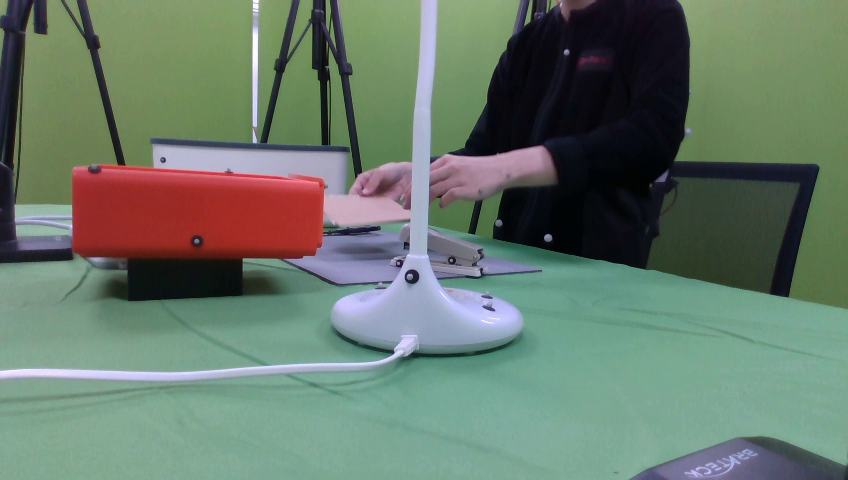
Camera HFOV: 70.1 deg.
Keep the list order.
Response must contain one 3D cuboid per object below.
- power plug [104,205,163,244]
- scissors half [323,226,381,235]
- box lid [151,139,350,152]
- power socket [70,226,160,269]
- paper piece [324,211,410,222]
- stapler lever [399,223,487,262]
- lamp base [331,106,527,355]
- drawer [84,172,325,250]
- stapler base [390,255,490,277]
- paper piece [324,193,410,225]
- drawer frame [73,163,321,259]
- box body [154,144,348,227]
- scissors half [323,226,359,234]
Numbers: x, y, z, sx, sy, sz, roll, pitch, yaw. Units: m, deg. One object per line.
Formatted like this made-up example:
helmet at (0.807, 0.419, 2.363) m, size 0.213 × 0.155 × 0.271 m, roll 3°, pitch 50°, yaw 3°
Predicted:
power plug at (-0.390, -0.021, 0.815) m, size 0.073 × 0.052 × 0.035 m, roll -1°, pitch 7°, yaw -27°
scissors half at (-0.152, -0.015, 1.079) m, size 0.176 × 0.013 × 0.040 m, roll -6°, pitch 2°, yaw -33°
box lid at (-0.352, -0.191, 1.256) m, size 0.373 × 0.015 × 0.262 m, roll 0°, pitch 8°, yaw -18°
power socket at (-0.409, 0.004, 0.793) m, size 0.072 × 0.032 × 0.225 m, roll -2°, pitch 8°, yaw -38°
paper piece at (-0.102, -0.044, 0.916) m, size 0.136 × 0.004 × 0.135 m, roll 2°, pitch 14°, yaw -21°
stapler lever at (0.022, 0.003, 0.776) m, size 0.117 × 0.040 × 0.027 m, roll 7°, pitch 12°, yaw 25°
lamp base at (0.006, -0.012, 0.478) m, size 0.161 × 0.180 × 0.179 m, roll 2°, pitch 10°, yaw 2°
drawer at (-0.227, -0.036, 0.638) m, size 0.213 × 0.073 × 0.193 m, roll -1°, pitch 9°, yaw -23°
stapler base at (0.020, 0.027, 0.780) m, size 0.130 × 0.024 × 0.041 m, roll 7°, pitch 12°, yaw 25°
paper piece at (-0.092, -0.050, 0.915) m, size 0.139 × 0.008 × 0.135 m, roll -4°, pitch 26°, yaw -31°
drawer frame at (-0.232, -0.034, 0.635) m, size 0.214 × 0.082 × 0.201 m, roll 1°, pitch 8°, yaw -23°
box body at (-0.357, -0.119, 1.264) m, size 0.365 × 0.160 × 0.253 m, roll 0°, pitch 7°, yaw -18°
scissors half at (-0.166, -0.015, 1.094) m, size 0.040 × 0.013 × 0.176 m, roll 3°, pitch 7°, yaw 39°
